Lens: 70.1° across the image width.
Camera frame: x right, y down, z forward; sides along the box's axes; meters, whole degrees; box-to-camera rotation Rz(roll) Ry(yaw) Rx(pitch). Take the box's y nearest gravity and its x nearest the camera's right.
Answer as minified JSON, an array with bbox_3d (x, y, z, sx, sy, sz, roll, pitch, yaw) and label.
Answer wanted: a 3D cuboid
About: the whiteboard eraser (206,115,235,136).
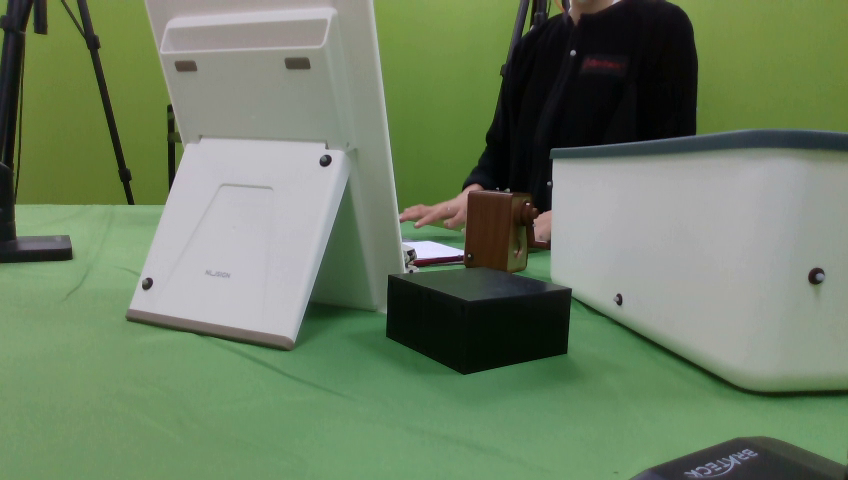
[{"bbox_3d":[-0.444,-0.250,1.322,0.056,0.042,0.112,-2,8,-15],"label":"whiteboard eraser"}]

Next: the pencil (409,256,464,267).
[{"bbox_3d":[0.041,0.028,0.850,0.195,0.012,0.012,-5,10,-45],"label":"pencil"}]

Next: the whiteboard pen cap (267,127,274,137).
[{"bbox_3d":[-0.340,-0.239,1.337,0.018,0.018,0.033,1,-1,-14],"label":"whiteboard pen cap"}]

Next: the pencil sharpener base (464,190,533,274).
[{"bbox_3d":[0.102,-0.012,0.813,0.076,0.107,0.061,8,9,36],"label":"pencil sharpener base"}]

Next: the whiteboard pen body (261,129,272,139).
[{"bbox_3d":[-0.361,-0.245,1.393,0.017,0.017,0.140,0,5,-20],"label":"whiteboard pen body"}]

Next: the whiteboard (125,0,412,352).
[{"bbox_3d":[-0.151,-0.050,0.471,0.216,0.305,0.144,6,27,24],"label":"whiteboard"}]

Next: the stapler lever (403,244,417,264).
[{"bbox_3d":[-0.066,0.003,0.755,0.117,0.040,0.027,9,13,23],"label":"stapler lever"}]

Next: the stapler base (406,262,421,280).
[{"bbox_3d":[-0.069,0.027,0.759,0.130,0.024,0.041,9,13,23],"label":"stapler base"}]

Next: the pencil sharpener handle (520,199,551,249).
[{"bbox_3d":[0.148,-0.020,0.786,0.030,0.068,0.036,8,31,36],"label":"pencil sharpener handle"}]

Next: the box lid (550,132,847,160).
[{"bbox_3d":[0.294,-0.072,0.538,0.264,0.015,0.370,1,6,-10],"label":"box lid"}]

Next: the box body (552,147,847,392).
[{"bbox_3d":[0.290,0.002,0.549,0.255,0.160,0.363,2,7,-10],"label":"box body"}]
